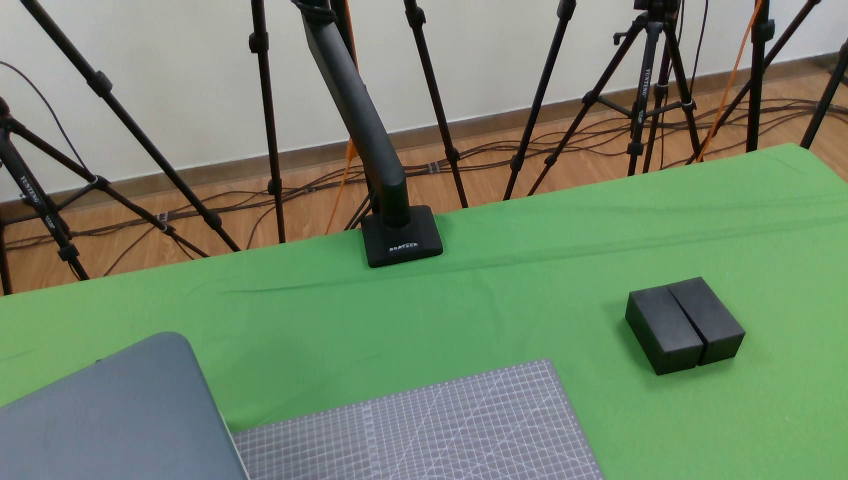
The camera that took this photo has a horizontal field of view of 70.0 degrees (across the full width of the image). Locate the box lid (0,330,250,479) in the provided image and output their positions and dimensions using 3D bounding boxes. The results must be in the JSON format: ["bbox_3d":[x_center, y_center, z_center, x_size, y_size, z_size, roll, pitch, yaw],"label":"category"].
[{"bbox_3d":[-0.354,0.239,0.532,0.372,0.015,0.260,-26,47,-20],"label":"box lid"}]

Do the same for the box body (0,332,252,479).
[{"bbox_3d":[-0.350,0.293,0.583,0.364,0.162,0.251,-27,47,-20],"label":"box body"}]
